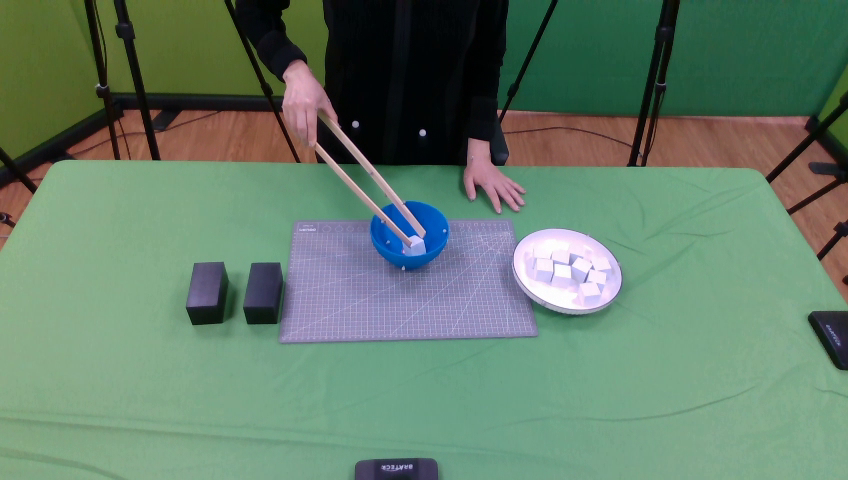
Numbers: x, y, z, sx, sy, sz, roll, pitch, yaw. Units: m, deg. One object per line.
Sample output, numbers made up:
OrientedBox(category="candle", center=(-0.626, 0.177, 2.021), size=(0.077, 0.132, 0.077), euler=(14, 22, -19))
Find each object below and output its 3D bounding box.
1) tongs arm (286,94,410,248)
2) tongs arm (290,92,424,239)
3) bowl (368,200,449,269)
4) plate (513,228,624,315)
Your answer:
OrientedBox(category="tongs arm", center=(-0.151, -0.133, 1.151), size=(0.028, 0.028, 0.386), euler=(-36, 77, -23))
OrientedBox(category="tongs arm", center=(-0.133, -0.145, 1.162), size=(0.051, 0.026, 0.383), euler=(-31, 74, -26))
OrientedBox(category="bowl", center=(-0.031, 0.002, 1.151), size=(0.151, 0.077, 0.150), euler=(2, 46, -2))
OrientedBox(category="plate", center=(0.268, 0.063, 1.146), size=(0.208, 0.039, 0.206), euler=(3, 46, -3))
